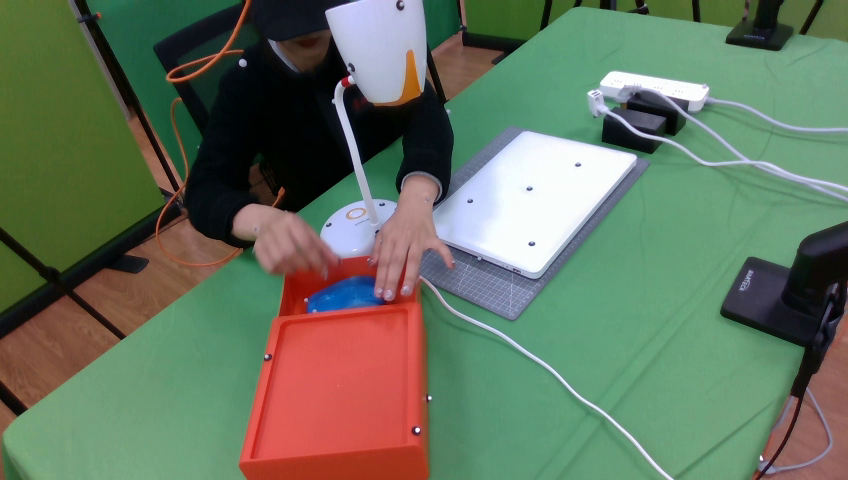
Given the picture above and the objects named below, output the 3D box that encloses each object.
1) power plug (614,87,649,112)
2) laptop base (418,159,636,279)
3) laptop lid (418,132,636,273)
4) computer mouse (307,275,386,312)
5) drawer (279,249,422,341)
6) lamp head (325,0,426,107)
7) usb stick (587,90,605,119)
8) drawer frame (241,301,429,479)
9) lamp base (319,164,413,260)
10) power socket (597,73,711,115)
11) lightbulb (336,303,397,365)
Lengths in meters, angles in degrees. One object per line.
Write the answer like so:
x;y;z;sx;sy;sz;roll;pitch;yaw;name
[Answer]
0.406;-0.275;1.192;0.035;0.053;0.072;-16;24;-16;power plug
0.185;-0.074;1.042;0.233;0.023;0.355;20;48;35;laptop base
0.181;-0.084;1.036;0.239;0.013;0.358;22;49;35;laptop lid
-0.115;0.088;0.884;0.117;0.041;0.062;-14;43;-2;computer mouse
-0.100;0.116;0.829;0.194;0.073;0.210;-7;41;2;drawer
-0.049;-0.218;0.708;0.112;0.123;0.112;-9;24;4;lamp head
0.334;-0.258;1.170;0.021;0.059;0.027;-28;44;-5;usb stick
-0.096;0.183;0.741;0.202;0.083;0.212;-6;40;3;drawer frame
-0.102;-0.068;0.962;0.161;0.181;0.177;-30;46;-20;lamp base
0.469;-0.304;1.249;0.225;0.033;0.072;20;49;30;power socket
-0.083;0.124;0.823;0.060;0.060;0.107;-35;61;-27;lightbulb
